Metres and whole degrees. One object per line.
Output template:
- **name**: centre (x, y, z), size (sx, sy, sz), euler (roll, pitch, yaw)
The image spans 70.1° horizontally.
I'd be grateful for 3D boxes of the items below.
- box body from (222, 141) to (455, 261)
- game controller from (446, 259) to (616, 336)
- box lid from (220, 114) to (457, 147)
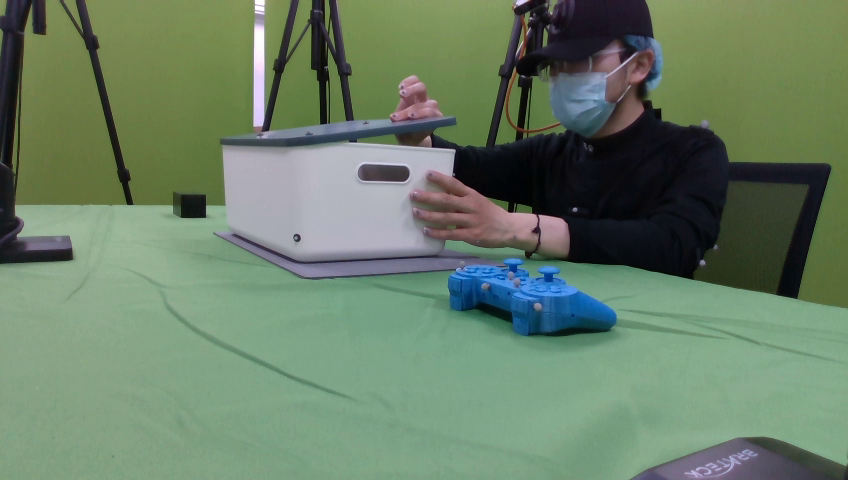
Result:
- **box body**: centre (-0.150, -0.073, 0.960), size (0.255, 0.160, 0.362), euler (-3, 9, -33)
- **game controller**: centre (0.091, 0.048, 0.562), size (0.097, 0.051, 0.154), euler (-6, 10, -32)
- **box lid**: centre (-0.147, -0.169, 0.943), size (0.264, 0.015, 0.369), euler (-15, 16, -30)
